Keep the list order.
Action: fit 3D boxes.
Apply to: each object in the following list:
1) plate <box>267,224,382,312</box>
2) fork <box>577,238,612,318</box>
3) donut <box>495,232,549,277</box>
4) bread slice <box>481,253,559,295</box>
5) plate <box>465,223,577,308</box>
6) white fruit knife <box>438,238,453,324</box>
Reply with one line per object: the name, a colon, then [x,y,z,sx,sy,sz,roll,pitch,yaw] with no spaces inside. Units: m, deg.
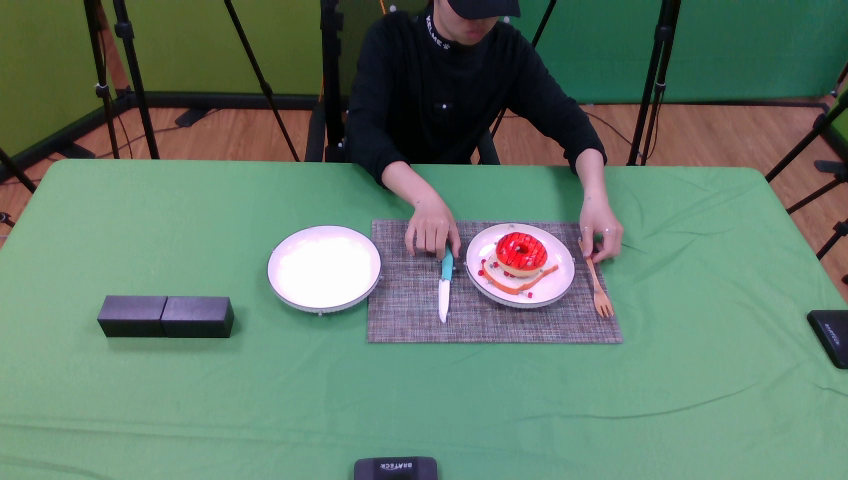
plate: [-0.182,0.055,1.120,0.208,0.039,0.206,2,46,-2]
fork: [0.320,0.068,1.152,0.028,0.019,0.206,7,46,-11]
donut: [0.180,0.026,1.119,0.099,0.048,0.098,2,46,-2]
bread slice: [0.177,0.049,1.148,0.131,0.019,0.104,-32,55,-30]
plate: [0.180,0.051,1.144,0.209,0.038,0.208,2,45,-2]
white fruit knife: [0.039,0.073,1.130,0.027,0.016,0.206,-17,44,21]
